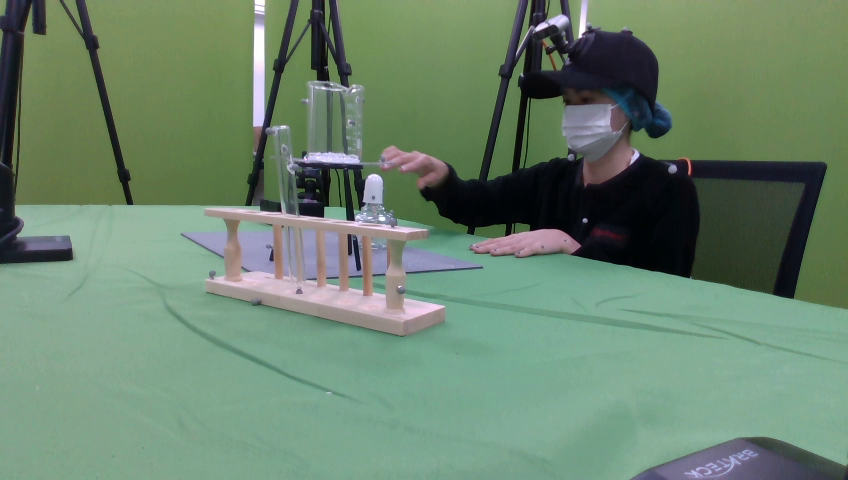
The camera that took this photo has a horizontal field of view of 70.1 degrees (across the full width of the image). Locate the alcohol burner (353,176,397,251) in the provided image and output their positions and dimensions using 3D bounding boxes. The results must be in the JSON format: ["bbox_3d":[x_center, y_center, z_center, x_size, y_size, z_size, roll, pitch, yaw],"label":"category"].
[{"bbox_3d":[-0.082,-0.043,0.950,0.078,0.119,0.078,1,8,0],"label":"alcohol burner"}]

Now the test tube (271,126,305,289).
[{"bbox_3d":[-0.124,-0.028,0.554,0.017,0.150,0.017,-5,7,1],"label":"test tube"}]

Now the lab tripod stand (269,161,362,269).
[{"bbox_3d":[-0.125,-0.036,0.794,0.148,0.131,0.148,5,7,0],"label":"lab tripod stand"}]

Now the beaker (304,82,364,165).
[{"bbox_3d":[-0.115,-0.148,0.779,0.074,0.100,0.083,-2,10,-30],"label":"beaker"}]

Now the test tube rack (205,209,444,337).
[{"bbox_3d":[-0.100,0.021,0.565,0.241,0.085,0.067,7,9,32],"label":"test tube rack"}]

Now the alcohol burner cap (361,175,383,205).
[{"bbox_3d":[-0.080,-0.078,0.945,0.034,0.048,0.034,5,7,0],"label":"alcohol burner cap"}]

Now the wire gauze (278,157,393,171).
[{"bbox_3d":[-0.122,-0.100,0.786,0.122,0.011,0.124,-5,14,-38],"label":"wire gauze"}]
